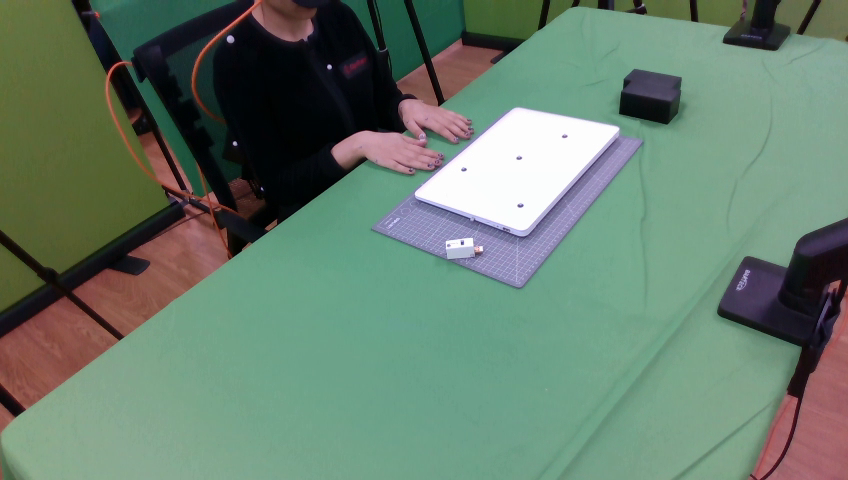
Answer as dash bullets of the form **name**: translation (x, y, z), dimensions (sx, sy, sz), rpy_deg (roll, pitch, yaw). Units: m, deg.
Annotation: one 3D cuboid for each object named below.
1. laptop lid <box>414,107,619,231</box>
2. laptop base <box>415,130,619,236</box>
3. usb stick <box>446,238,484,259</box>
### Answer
- **laptop lid**: translation (0.174, -0.147, 1.106), dimensions (0.239, 0.013, 0.358), rpy_deg (22, 49, 34)
- **laptop base**: translation (0.178, -0.137, 1.112), dimensions (0.233, 0.023, 0.355), rpy_deg (19, 48, 34)
- **usb stick**: translation (0.064, 0.013, 0.946), dimensions (0.059, 0.027, 0.021), rpy_deg (-4, 41, 3)
